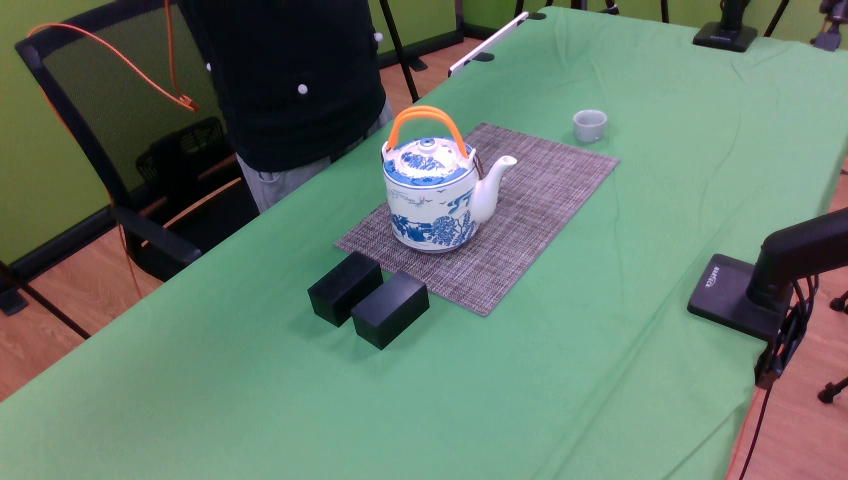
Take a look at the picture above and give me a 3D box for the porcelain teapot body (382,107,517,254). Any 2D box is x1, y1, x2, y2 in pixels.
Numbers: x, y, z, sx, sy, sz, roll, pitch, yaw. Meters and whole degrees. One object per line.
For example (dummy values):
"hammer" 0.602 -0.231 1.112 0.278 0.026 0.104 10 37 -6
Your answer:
"porcelain teapot body" 0.039 -0.095 0.912 0.205 0.226 0.145 6 42 14

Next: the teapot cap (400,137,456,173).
"teapot cap" 0.006 -0.127 0.893 0.085 0.044 0.084 -3 43 3

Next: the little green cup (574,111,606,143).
"little green cup" 0.318 -0.217 1.164 0.061 0.039 0.061 -3 41 3
